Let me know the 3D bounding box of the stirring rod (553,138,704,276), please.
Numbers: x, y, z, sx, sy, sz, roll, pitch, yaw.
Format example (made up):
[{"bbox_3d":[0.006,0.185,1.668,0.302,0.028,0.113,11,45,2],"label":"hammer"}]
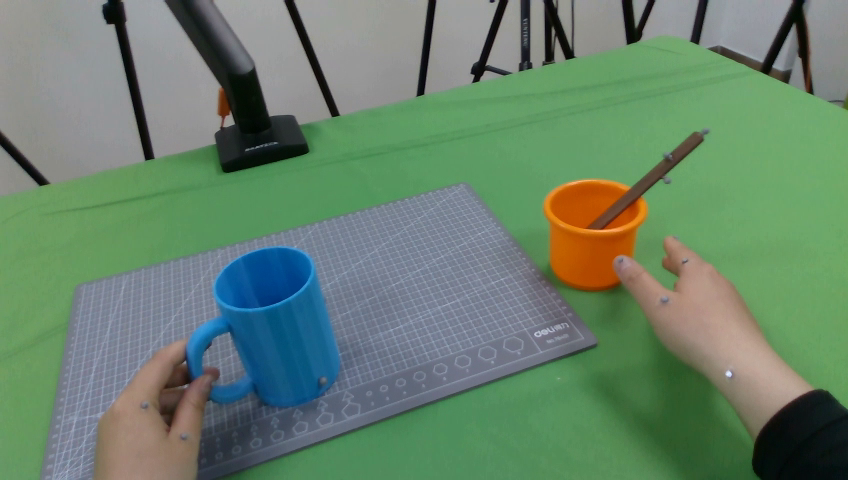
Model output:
[{"bbox_3d":[0.186,-0.028,0.560,0.176,0.006,0.014,-46,35,20],"label":"stirring rod"}]

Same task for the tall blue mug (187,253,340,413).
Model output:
[{"bbox_3d":[-0.120,0.084,0.476,0.077,0.109,0.106,9,39,20],"label":"tall blue mug"}]
